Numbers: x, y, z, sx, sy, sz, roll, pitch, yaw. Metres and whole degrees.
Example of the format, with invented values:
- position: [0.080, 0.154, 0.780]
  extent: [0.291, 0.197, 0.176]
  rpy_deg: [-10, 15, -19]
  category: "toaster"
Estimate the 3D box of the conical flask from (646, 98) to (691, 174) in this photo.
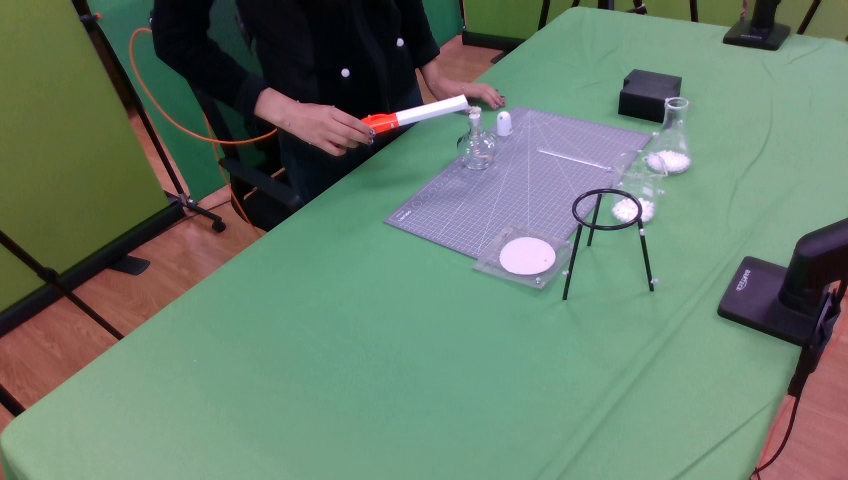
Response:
- position: [0.426, -0.180, 1.037]
  extent: [0.075, 0.122, 0.075]
  rpy_deg: [-5, 40, 5]
  category: "conical flask"

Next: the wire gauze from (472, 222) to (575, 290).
- position: [0.158, 0.024, 0.933]
  extent: [0.120, 0.011, 0.125]
  rpy_deg: [21, 49, 31]
  category: "wire gauze"

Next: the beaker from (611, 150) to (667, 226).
- position: [0.337, -0.079, 0.953]
  extent: [0.083, 0.101, 0.074]
  rpy_deg: [25, 51, 33]
  category: "beaker"

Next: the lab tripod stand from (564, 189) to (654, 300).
- position: [0.251, 0.003, 0.845]
  extent: [0.148, 0.132, 0.147]
  rpy_deg: [-7, 39, 6]
  category: "lab tripod stand"

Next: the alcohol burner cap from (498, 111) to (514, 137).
- position: [0.163, -0.235, 1.211]
  extent: [0.034, 0.048, 0.033]
  rpy_deg: [-6, 40, 6]
  category: "alcohol burner cap"

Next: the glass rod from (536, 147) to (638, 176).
- position: [0.294, -0.145, 1.104]
  extent: [0.198, 0.008, 0.008]
  rpy_deg: [22, 50, 31]
  category: "glass rod"

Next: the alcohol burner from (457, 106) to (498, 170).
- position: [0.097, -0.192, 1.117]
  extent: [0.078, 0.119, 0.077]
  rpy_deg: [-7, 39, 6]
  category: "alcohol burner"

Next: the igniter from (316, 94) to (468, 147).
- position: [-0.058, -0.213, 1.077]
  extent: [0.277, 0.025, 0.057]
  rpy_deg: [-15, 40, 0]
  category: "igniter"
